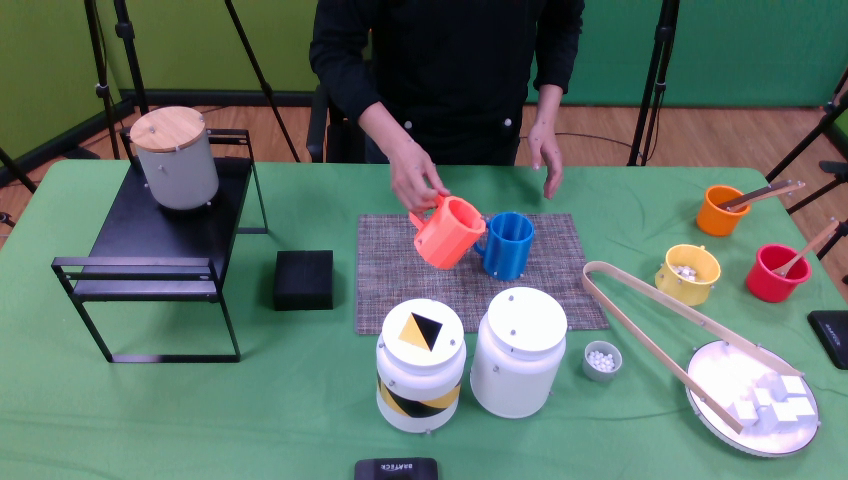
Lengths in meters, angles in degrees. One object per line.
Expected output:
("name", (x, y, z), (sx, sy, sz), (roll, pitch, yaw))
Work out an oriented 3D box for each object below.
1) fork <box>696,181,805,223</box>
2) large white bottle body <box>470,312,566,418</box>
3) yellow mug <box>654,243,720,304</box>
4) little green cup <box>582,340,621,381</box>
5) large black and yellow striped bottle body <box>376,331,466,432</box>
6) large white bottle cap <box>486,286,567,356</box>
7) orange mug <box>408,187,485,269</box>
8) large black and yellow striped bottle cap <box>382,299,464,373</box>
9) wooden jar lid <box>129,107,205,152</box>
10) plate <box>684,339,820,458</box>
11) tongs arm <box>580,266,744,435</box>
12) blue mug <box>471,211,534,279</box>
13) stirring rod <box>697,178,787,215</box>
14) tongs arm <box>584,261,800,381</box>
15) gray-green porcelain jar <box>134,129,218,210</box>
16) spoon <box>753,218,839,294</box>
("fork", (0.659, -0.077, 1.232), (0.207, 0.019, 0.028), (-26, 35, 34))
("large white bottle body", (0.143, 0.173, 0.930), (0.131, 0.185, 0.130), (2, 46, -2))
("yellow mug", (0.504, 0.054, 1.154), (0.099, 0.064, 0.130), (28, 50, 22))
("little green cup", (0.295, 0.204, 1.014), (0.061, 0.039, 0.061), (2, 45, -2))
("large black and yellow striped bottle body", (-0.007, 0.189, 0.905), (0.131, 0.185, 0.130), (2, 46, -2))
("large white bottle cap", (0.147, 0.114, 0.869), (0.115, 0.018, 0.114), (3, 46, -3))
("orange mug", (0.032, -0.028, 1.036), (0.126, 0.101, 0.083), (51, 32, 9))
("large black and yellow striped bottle cap", (-0.002, 0.132, 0.843), (0.115, 0.019, 0.114), (2, 46, -1))
("wooden jar lid", (-0.385, -0.163, 0.915), (0.108, 0.021, 0.107), (2, 47, -2))
("plate", (0.523, 0.256, 0.982), (0.208, 0.039, 0.206), (2, 46, -2))
("tongs arm", (0.384, 0.173, 1.028), (0.028, 0.028, 0.385), (-25, 46, -15))
("blue mug", (0.141, 0.005, 1.139), (0.116, 0.106, 0.082), (18, 48, 13))
("stirring rod", (0.650, -0.088, 1.245), (0.006, 0.176, 0.014), (29, 50, -39))
("tongs arm", (0.452, 0.137, 1.064), (0.051, 0.027, 0.382), (-34, 50, -27))
("gray-green porcelain jar", (-0.388, -0.120, 0.960), (0.106, 0.127, 0.105), (2, 46, -2))
("spoon", (0.700, 0.031, 1.138), (0.194, 0.022, 0.041), (-47, 55, 14))
